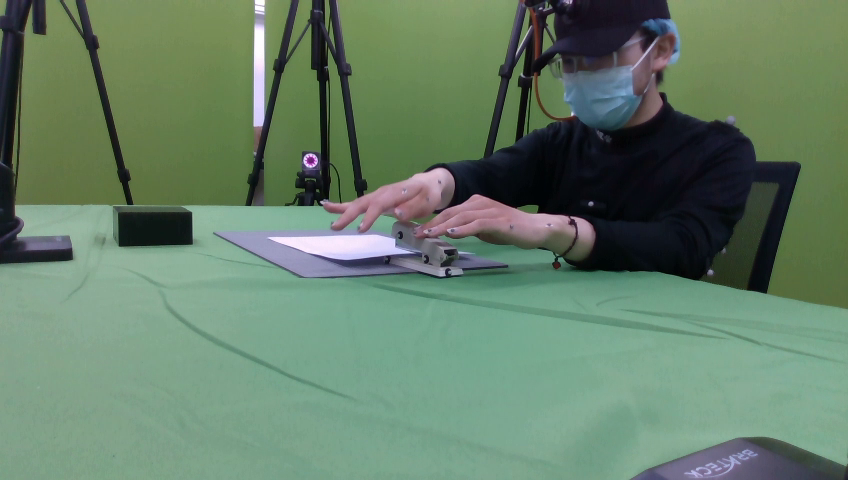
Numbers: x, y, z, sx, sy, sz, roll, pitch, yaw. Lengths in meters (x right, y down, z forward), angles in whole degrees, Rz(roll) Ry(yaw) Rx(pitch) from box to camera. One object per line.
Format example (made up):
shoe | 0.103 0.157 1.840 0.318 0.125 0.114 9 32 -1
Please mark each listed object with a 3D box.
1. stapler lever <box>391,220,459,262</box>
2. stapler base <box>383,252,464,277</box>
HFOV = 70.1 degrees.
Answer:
stapler lever | -0.001 0.000 0.785 0.027 0.040 0.117 -6 13 -38
stapler base | -0.004 0.024 0.790 0.041 0.024 0.130 -6 13 -38
